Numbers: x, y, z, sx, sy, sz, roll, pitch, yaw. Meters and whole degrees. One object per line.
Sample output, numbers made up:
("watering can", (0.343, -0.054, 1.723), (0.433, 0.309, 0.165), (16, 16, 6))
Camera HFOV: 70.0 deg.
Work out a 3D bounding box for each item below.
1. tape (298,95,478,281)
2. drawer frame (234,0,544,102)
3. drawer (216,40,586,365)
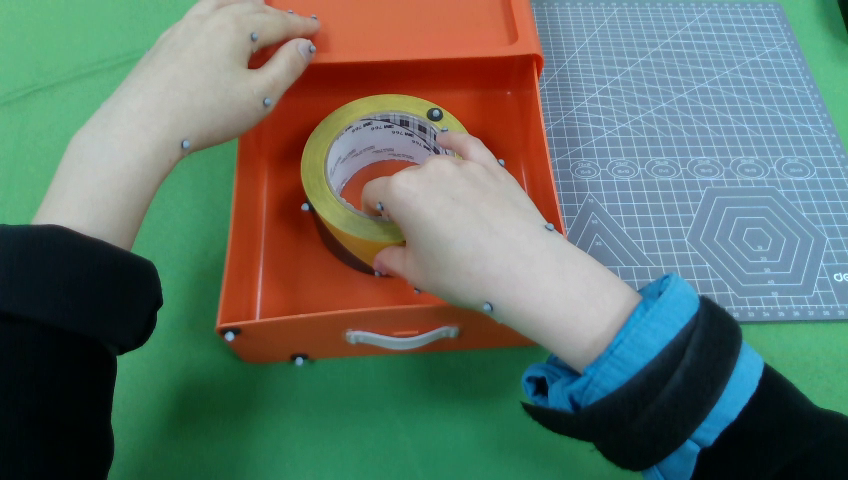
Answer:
("tape", (-0.020, -0.034, 0.396), (0.117, 0.053, 0.116), (1, 64, -1))
("drawer frame", (-0.029, -0.182, 0.466), (0.202, 0.083, 0.211), (-4, 60, -3))
("drawer", (-0.017, -0.032, 0.387), (0.194, 0.074, 0.210), (-3, 63, -2))
